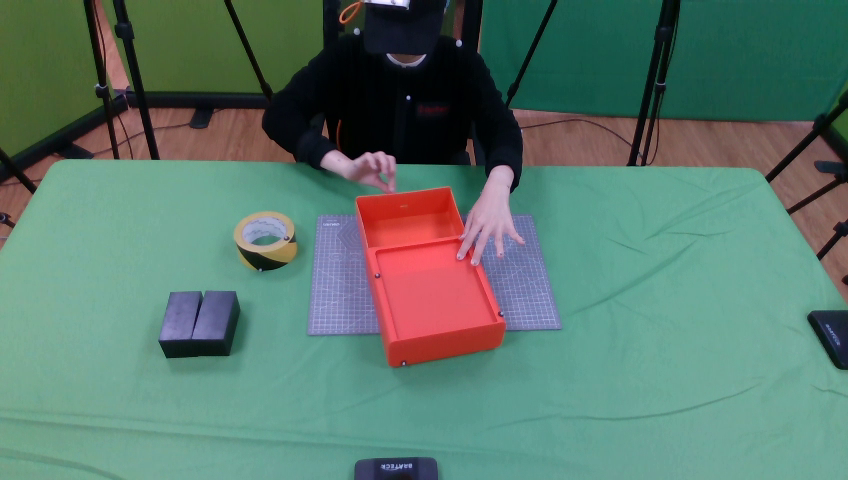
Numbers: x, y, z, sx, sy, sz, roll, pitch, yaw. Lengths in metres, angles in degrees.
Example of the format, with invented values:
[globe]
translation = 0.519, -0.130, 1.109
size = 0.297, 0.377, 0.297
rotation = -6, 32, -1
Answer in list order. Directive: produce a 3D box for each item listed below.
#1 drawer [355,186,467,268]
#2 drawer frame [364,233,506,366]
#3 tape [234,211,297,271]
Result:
[drawer]
translation = -0.020, -0.001, 1.153
size = 0.195, 0.073, 0.210
rotation = -7, 47, -11
[drawer frame]
translation = 0.013, 0.097, 1.058
size = 0.202, 0.083, 0.212
rotation = -8, 48, -13
[tape]
translation = -0.301, 0.002, 1.154
size = 0.117, 0.053, 0.116
rotation = 2, 46, -1
